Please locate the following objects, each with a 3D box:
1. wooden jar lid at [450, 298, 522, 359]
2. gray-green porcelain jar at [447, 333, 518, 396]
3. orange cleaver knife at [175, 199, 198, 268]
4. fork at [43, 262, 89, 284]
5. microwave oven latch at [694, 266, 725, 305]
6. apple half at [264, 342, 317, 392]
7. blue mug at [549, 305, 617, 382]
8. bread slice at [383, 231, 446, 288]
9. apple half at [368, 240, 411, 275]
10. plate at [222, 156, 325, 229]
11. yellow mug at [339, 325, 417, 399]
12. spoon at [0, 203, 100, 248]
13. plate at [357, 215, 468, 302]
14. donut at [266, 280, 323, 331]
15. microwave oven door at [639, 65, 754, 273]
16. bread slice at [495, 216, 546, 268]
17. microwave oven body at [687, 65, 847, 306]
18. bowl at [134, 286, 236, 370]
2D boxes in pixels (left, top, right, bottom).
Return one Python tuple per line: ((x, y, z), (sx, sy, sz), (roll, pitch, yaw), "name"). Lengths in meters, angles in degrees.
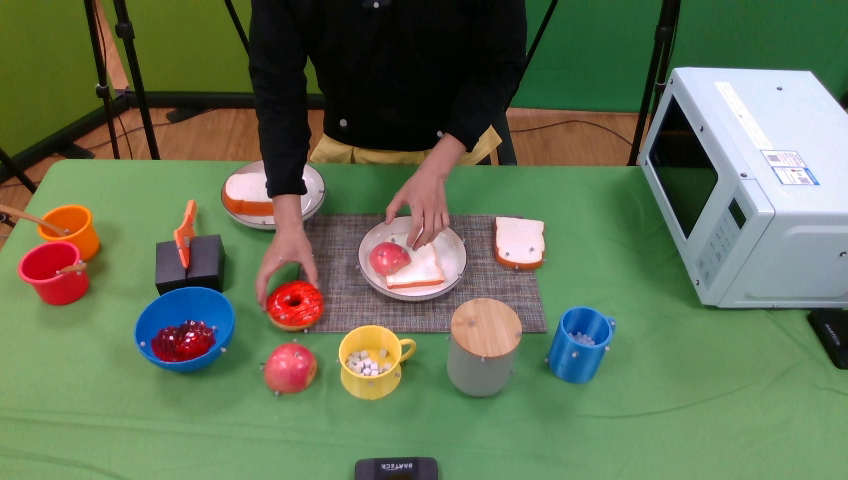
((0.093, 0.135, 0.914), (0.108, 0.021, 0.107), (3, 48, -3), "wooden jar lid")
((0.091, 0.178, 0.960), (0.106, 0.127, 0.105), (2, 46, -2), "gray-green porcelain jar")
((-0.438, -0.017, 1.138), (0.012, 0.077, 0.210), (-14, 27, -7), "orange cleaver knife")
((-0.599, 0.053, 1.013), (0.207, 0.019, 0.028), (-14, 30, 45), "fork")
((0.523, 0.082, 1.115), (0.030, 0.029, 0.078), (3, 46, 0), "microwave oven latch")
((-0.214, 0.198, 0.970), (0.074, 0.053, 0.080), (19, 48, 10), "apple half")
((0.269, 0.165, 0.998), (0.116, 0.106, 0.082), (-19, 51, -21), "blue mug")
((-0.027, 0.034, 1.143), (0.107, 0.018, 0.133), (-8, 46, -11), "bread slice")
((-0.067, 0.024, 1.121), (0.081, 0.033, 0.081), (1, 48, -1), "apple half")
((-0.308, -0.095, 1.251), (0.209, 0.038, 0.208), (2, 47, -2), "plate")
((-0.072, 0.190, 0.978), (0.131, 0.064, 0.099), (-17, 50, -20), "yellow mug")
((-0.683, -0.031, 1.088), (0.195, 0.021, 0.041), (33, 33, -38), "spoon")
((-0.022, 0.037, 1.141), (0.208, 0.039, 0.206), (2, 46, -2), "plate")
((-0.223, 0.113, 1.048), (0.099, 0.048, 0.098), (2, 47, -2), "donut")
((0.522, -0.147, 1.192), (0.039, 0.245, 0.353), (0, 47, -3), "microwave oven door")
((0.194, 0.002, 1.205), (0.105, 0.019, 0.131), (5, 45, 2), "bread slice")
((0.669, -0.111, 1.176), (0.326, 0.261, 0.439), (0, 46, -3), "microwave oven body")
((-0.377, 0.155, 0.981), (0.151, 0.077, 0.150), (2, 46, -2), "bowl")
